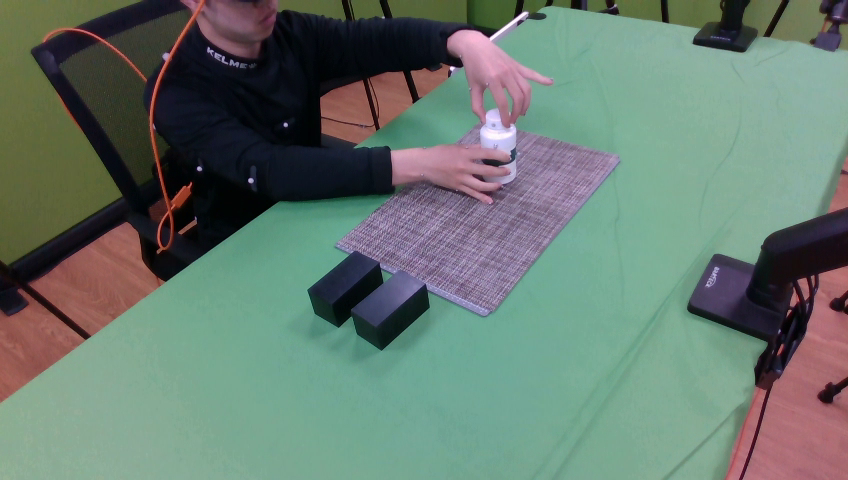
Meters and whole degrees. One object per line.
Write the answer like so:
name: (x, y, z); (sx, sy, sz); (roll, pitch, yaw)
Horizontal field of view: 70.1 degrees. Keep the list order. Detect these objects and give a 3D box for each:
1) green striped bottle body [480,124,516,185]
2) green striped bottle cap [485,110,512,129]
green striped bottle body: (0.130, -0.162, 1.057); (0.063, 0.120, 0.063); (-4, 40, 4)
green striped bottle cap: (0.125, -0.203, 1.020); (0.044, 0.020, 0.044); (-9, 31, 6)
